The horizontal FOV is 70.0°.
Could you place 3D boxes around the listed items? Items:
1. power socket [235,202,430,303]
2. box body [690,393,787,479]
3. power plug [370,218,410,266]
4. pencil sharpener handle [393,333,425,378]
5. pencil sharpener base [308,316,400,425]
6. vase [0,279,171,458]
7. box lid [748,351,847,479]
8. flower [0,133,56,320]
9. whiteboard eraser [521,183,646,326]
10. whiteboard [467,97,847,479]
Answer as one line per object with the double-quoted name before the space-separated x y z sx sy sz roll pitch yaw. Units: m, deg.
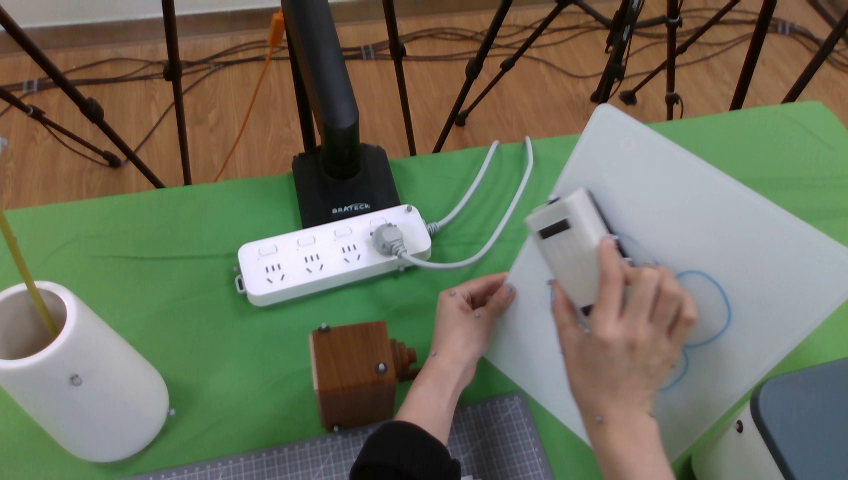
"power socket" -0.098 0.012 0.682 0.227 0.033 0.071 -14 59 -15
"box body" 0.412 0.278 0.471 0.255 0.161 0.360 -10 58 -12
"power plug" -0.039 0.009 0.661 0.035 0.053 0.072 -6 58 -8
"pencil sharpener handle" -0.012 0.110 0.565 0.031 0.068 0.035 -7 57 -10
"pencil sharpener base" -0.063 0.123 0.565 0.077 0.108 0.060 -7 56 -10
"vase" -0.283 0.110 0.499 0.098 0.201 0.097 2 56 -2
"box lid" 0.417 0.234 0.410 0.264 0.015 0.367 -10 57 -12
"flower" -0.275 0.048 0.442 0.038 0.365 0.043 -20 42 -25
"whiteboard eraser" 0.131 0.012 0.496 0.042 0.055 0.113 -33 93 -47
"whiteboard" 0.211 0.039 0.564 0.215 0.307 0.144 39 42 20
